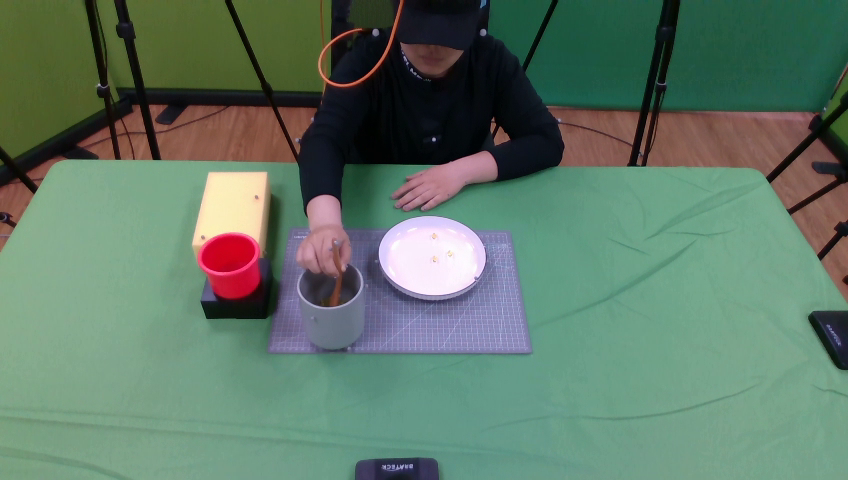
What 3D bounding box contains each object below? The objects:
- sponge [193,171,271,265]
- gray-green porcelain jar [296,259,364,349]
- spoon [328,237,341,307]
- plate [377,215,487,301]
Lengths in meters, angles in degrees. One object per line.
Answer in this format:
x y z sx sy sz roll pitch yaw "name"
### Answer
-0.371 -0.047 1.189 0.118 0.061 0.205 -3 46 -6 "sponge"
-0.152 0.111 1.003 0.106 0.127 0.105 2 46 -2 "gray-green porcelain jar"
-0.142 0.064 0.975 0.022 0.194 0.041 -6 45 -17 "spoon"
0.015 0.037 1.147 0.208 0.039 0.206 2 46 -2 "plate"
